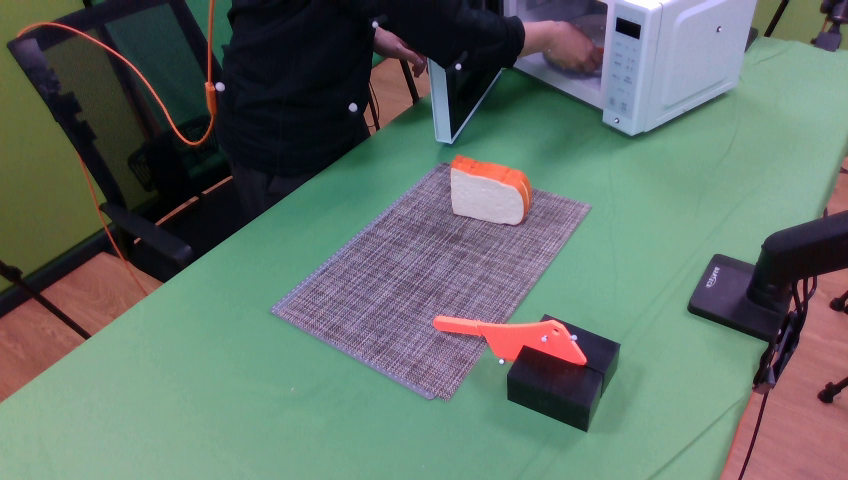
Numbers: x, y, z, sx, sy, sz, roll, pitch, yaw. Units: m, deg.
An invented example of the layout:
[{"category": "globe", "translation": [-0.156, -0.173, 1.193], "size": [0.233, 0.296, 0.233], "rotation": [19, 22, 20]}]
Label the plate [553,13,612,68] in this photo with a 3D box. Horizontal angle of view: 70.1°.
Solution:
[{"category": "plate", "translation": [0.385, -0.428, 1.316], "size": [0.208, 0.039, 0.206], "rotation": [-2, 46, 3]}]

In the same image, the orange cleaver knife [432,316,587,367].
[{"category": "orange cleaver knife", "translation": [0.101, 0.127, 0.761], "size": [0.210, 0.077, 0.012], "rotation": [-1, 34, 40]}]

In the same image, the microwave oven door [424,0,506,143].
[{"category": "microwave oven door", "translation": [0.093, -0.393, 1.218], "size": [0.039, 0.245, 0.356], "rotation": [11, 44, 21]}]

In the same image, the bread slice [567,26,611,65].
[{"category": "bread slice", "translation": [0.363, -0.427, 1.328], "size": [0.107, 0.018, 0.133], "rotation": [1, 51, 4]}]

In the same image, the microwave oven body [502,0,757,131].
[{"category": "microwave oven body", "translation": [0.396, -0.448, 1.248], "size": [0.327, 0.261, 0.437], "rotation": [-27, 44, -21]}]

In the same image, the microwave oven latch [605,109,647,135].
[{"category": "microwave oven latch", "translation": [0.379, -0.225, 1.139], "size": [0.030, 0.029, 0.078], "rotation": [-26, 43, -19]}]
